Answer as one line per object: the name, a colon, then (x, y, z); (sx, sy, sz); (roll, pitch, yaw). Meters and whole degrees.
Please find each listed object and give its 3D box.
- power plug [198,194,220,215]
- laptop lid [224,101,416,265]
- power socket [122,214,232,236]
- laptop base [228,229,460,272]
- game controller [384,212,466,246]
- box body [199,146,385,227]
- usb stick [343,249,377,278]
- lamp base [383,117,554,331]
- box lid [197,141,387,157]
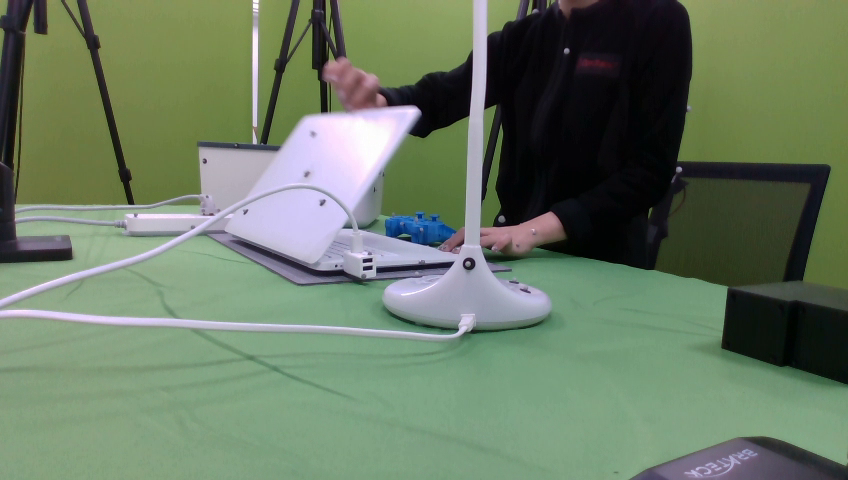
power plug: (-0.387, -0.055, 1.089); (0.035, 0.052, 0.072); (-1, 7, -22)
laptop lid: (-0.163, -0.092, 0.844); (0.013, 0.241, 0.355); (38, -13, -33)
power socket: (-0.399, -0.028, 1.049); (0.228, 0.032, 0.072); (-3, 8, -34)
laptop base: (-0.122, 0.011, 0.889); (0.237, 0.023, 0.352); (2, 6, -35)
game controller: (-0.003, -0.021, 1.074); (0.097, 0.051, 0.154); (-5, 10, -31)
box body: (-0.276, -0.124, 1.334); (0.364, 0.160, 0.254); (3, 7, 1)
usb stick: (-0.076, 0.026, 0.687); (0.021, 0.027, 0.059); (-8, 9, -31)
lamp base: (0.045, -0.019, 0.547); (0.161, 0.180, 0.179); (2, 10, -4)
box lid: (-0.275, -0.197, 1.326); (0.372, 0.015, 0.263); (4, 8, 1)
